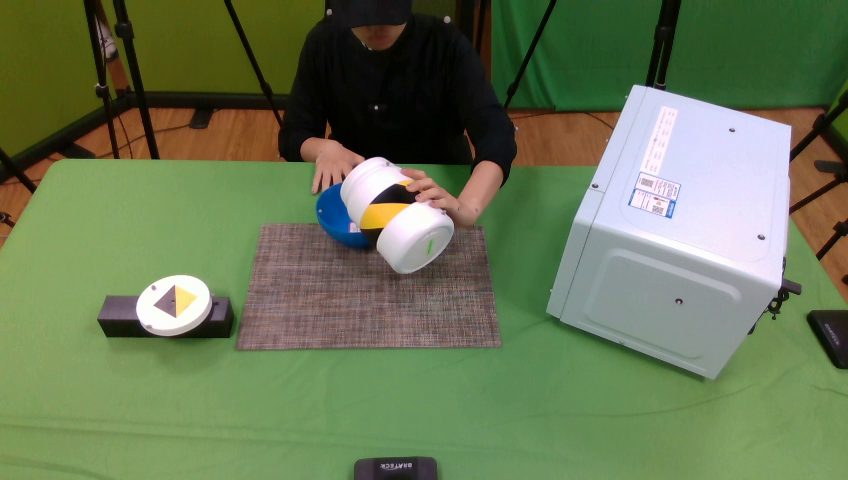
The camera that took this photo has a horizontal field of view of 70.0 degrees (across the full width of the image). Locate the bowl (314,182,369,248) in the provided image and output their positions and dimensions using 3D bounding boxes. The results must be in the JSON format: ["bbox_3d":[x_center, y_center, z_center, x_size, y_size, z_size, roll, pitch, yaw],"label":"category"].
[{"bbox_3d":[-0.136,-0.039,1.180,0.151,0.077,0.150,3,46,-2],"label":"bowl"}]

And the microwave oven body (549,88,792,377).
[{"bbox_3d":[0.456,-0.028,1.088,0.325,0.261,0.440,20,47,16],"label":"microwave oven body"}]

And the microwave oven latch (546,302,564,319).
[{"bbox_3d":[0.242,0.102,1.081,0.030,0.029,0.079,21,48,17],"label":"microwave oven latch"}]

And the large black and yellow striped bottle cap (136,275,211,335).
[{"bbox_3d":[-0.412,0.105,0.999,0.115,0.019,0.114,3,46,-3],"label":"large black and yellow striped bottle cap"}]

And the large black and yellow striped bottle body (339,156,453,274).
[{"bbox_3d":[-0.052,-0.047,1.053,0.131,0.131,0.183,-29,64,-28],"label":"large black and yellow striped bottle body"}]

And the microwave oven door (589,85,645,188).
[{"bbox_3d":[0.341,-0.107,1.149,0.039,0.245,0.354,20,48,15],"label":"microwave oven door"}]
